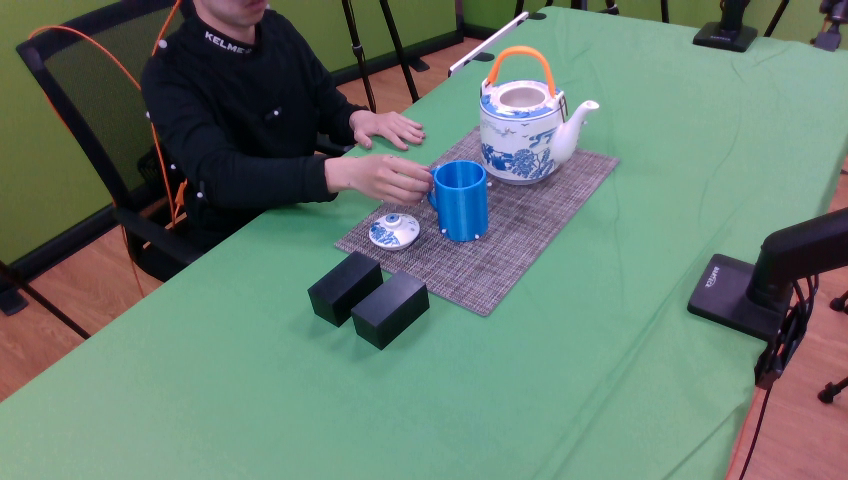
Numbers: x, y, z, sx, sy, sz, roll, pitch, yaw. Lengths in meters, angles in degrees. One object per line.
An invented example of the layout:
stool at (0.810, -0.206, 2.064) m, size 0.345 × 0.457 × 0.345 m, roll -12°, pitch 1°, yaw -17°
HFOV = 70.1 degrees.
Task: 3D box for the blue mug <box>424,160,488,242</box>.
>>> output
blue mug at (0.047, -0.067, 0.971) m, size 0.115 × 0.106 × 0.082 m, roll 23°, pitch 49°, yaw 31°

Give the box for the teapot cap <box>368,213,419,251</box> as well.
teapot cap at (-0.050, -0.018, 0.975) m, size 0.085 × 0.044 × 0.085 m, roll -4°, pitch 43°, yaw 4°

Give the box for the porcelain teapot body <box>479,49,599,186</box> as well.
porcelain teapot body at (0.192, -0.208, 1.023) m, size 0.204 × 0.226 × 0.145 m, roll 16°, pitch 46°, yaw 25°
